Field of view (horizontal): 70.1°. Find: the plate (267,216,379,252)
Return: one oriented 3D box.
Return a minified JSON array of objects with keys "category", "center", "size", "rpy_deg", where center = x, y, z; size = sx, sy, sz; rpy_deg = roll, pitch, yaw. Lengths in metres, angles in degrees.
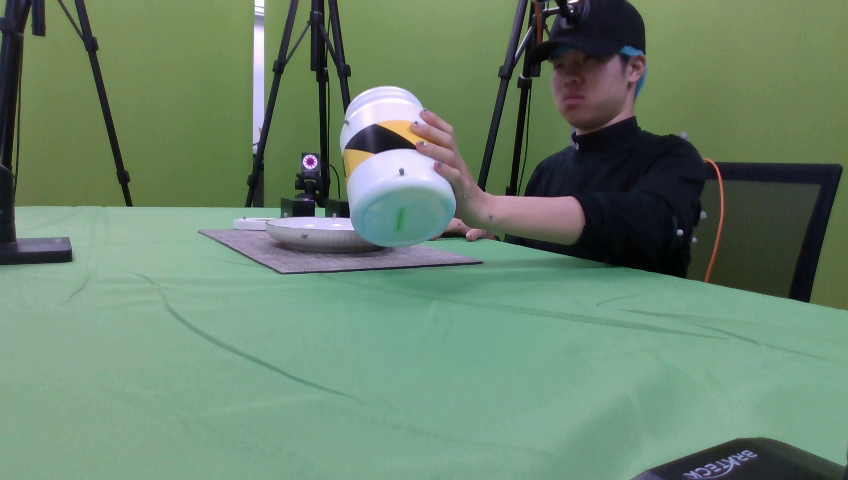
[{"category":"plate","center":[-0.145,-0.010,0.967],"size":[0.208,0.039,0.207],"rpy_deg":[2,7,0]}]

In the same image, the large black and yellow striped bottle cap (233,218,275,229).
[{"category":"large black and yellow striped bottle cap","center":[-0.311,-0.032,1.172],"size":[0.115,0.019,0.115],"rpy_deg":[1,4,0]}]

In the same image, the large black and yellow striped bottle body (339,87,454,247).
[{"category":"large black and yellow striped bottle body","center":[-0.041,-0.097,0.783],"size":[0.131,0.183,0.131],"rpy_deg":[-8,-36,-6]}]
